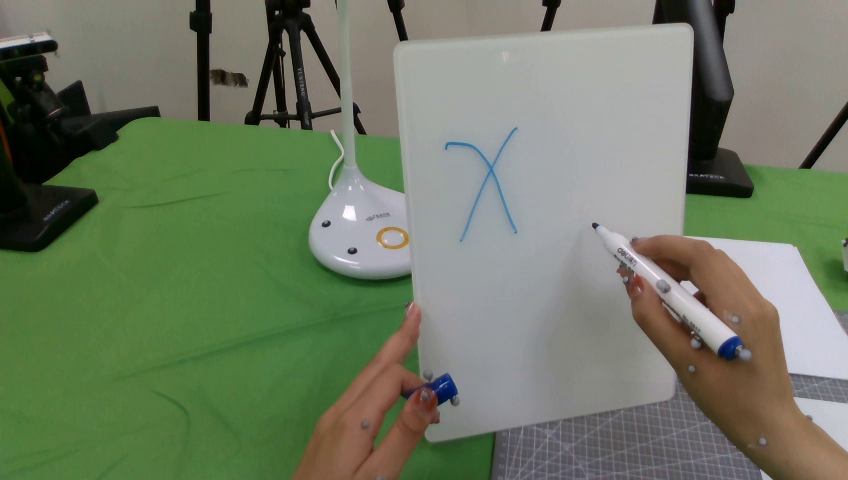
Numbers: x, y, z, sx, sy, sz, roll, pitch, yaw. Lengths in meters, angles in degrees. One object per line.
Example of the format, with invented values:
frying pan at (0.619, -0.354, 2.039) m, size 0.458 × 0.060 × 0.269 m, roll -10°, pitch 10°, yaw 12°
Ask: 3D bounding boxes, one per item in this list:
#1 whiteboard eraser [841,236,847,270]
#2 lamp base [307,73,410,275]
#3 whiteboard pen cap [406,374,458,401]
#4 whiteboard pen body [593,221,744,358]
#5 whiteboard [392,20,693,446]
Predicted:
whiteboard eraser at (0.506, 0.029, 0.637) m, size 0.112 × 0.042 × 0.055 m, roll 16°, pitch 40°, yaw 21°
lamp base at (-0.061, -0.080, 0.663) m, size 0.161 × 0.182 × 0.177 m, roll -24°, pitch 40°, yaw -30°
whiteboard pen cap at (0.006, 0.097, 0.398) m, size 0.033 × 0.018 × 0.018 m, roll -13°, pitch 26°, yaw 32°
whiteboard pen body at (0.151, 0.025, 0.393) m, size 0.017 × 0.017 × 0.139 m, roll -13°, pitch 38°, yaw -17°
whiteboard at (0.084, -0.015, 0.515) m, size 0.217 × 0.307 × 0.143 m, roll -7°, pitch 17°, yaw -9°
